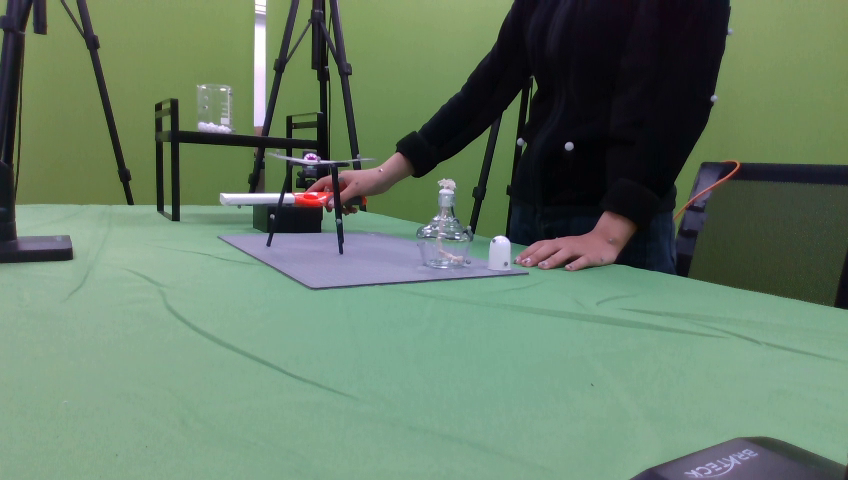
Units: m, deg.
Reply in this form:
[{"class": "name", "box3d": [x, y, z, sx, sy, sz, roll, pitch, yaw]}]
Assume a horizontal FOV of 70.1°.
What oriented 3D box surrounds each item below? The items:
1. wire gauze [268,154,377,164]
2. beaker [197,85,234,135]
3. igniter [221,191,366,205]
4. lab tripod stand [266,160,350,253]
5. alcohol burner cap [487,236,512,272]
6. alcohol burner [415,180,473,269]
[{"class": "wire gauze", "box3d": [-0.154, -0.120, 0.910, 0.122, 0.011, 0.124, -5, 11, -44]}, {"class": "beaker", "box3d": [-0.444, -0.275, 1.283, 0.074, 0.100, 0.084, 5, 8, 22]}, {"class": "igniter", "box3d": [-0.241, -0.079, 1.150, 0.278, 0.025, 0.057, -3, 20, -31]}, {"class": "lab tripod stand", "box3d": [-0.163, -0.054, 0.914, 0.148, 0.131, 0.148, 2, 9, 0]}, {"class": "alcohol burner cap", "box3d": [0.101, 0.019, 0.802, 0.034, 0.048, 0.034, 2, 7, 0]}, {"class": "alcohol burner", "box3d": [0.028, -0.021, 0.807, 0.078, 0.119, 0.078, 4, 5, 0]}]
